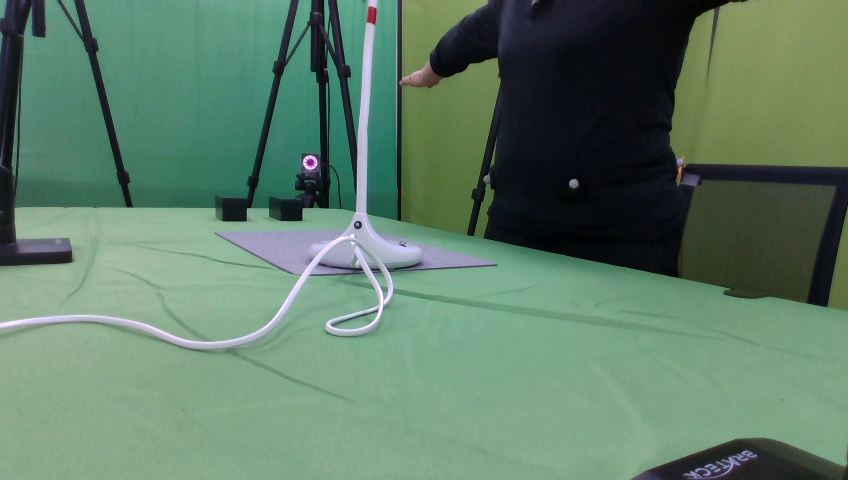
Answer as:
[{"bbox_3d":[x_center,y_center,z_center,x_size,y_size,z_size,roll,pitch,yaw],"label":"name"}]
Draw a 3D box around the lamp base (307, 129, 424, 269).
[{"bbox_3d":[-0.076,-0.057,0.811,0.161,0.180,0.179,2,10,-4],"label":"lamp base"}]
